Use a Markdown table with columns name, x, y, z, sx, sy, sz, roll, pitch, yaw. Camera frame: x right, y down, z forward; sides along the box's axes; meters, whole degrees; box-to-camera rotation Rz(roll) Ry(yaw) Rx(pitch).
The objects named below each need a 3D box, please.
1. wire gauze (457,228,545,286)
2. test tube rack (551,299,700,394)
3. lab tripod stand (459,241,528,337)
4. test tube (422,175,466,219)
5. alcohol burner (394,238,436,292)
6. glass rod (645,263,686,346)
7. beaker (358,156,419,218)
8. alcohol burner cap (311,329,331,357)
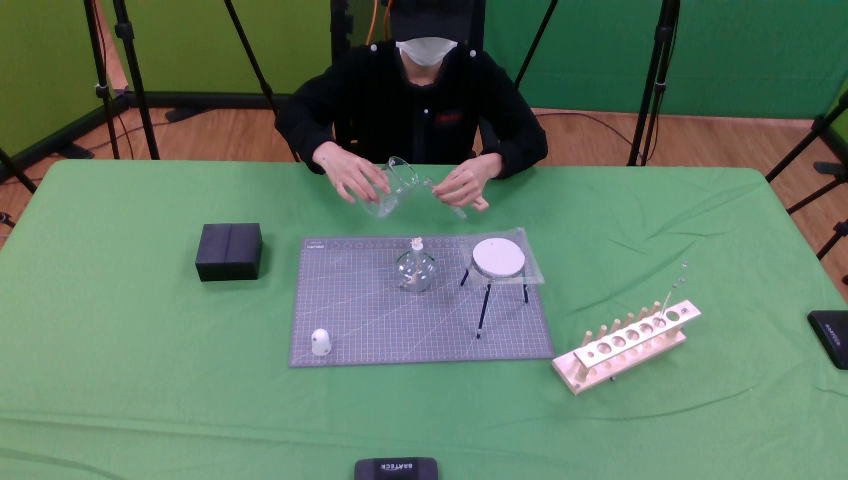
| name | x | y | z | sx | sy | sz | roll | pitch | yaw |
| --- | --- | --- | --- | --- | --- | --- | --- | --- | --- |
| wire gauze | 0.126 | 0.029 | 1.006 | 0.125 | 0.011 | 0.120 | -4 | 46 | -10 |
| test tube rack | 0.339 | 0.166 | 1.021 | 0.242 | 0.085 | 0.066 | -19 | 50 | -21 |
| lab tripod stand | 0.122 | 0.075 | 1.054 | 0.148 | 0.132 | 0.147 | 3 | 44 | -3 |
| test tube | 0.041 | -0.081 | 1.173 | 0.017 | 0.151 | 0.017 | -19 | 52 | 27 |
| alcohol burner | -0.016 | 0.038 | 1.093 | 0.078 | 0.119 | 0.077 | 2 | 48 | -2 |
| glass rod | 0.391 | 0.110 | 0.986 | 0.008 | 0.201 | 0.008 | 2 | 42 | -1 |
| beaker | -0.067 | -0.094 | 1.121 | 0.084 | 0.100 | 0.073 | 17 | 41 | -45 |
| alcohol burner cap | -0.173 | 0.168 | 1.004 | 0.034 | 0.048 | 0.033 | 2 | 46 | -2 |
